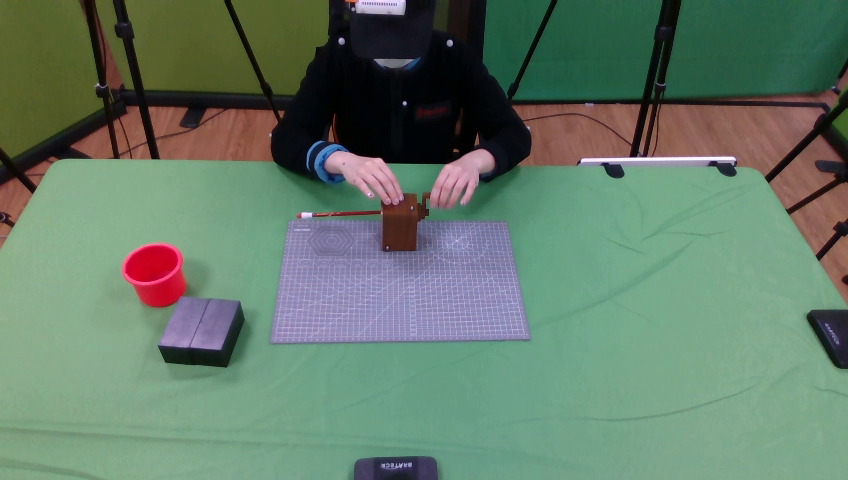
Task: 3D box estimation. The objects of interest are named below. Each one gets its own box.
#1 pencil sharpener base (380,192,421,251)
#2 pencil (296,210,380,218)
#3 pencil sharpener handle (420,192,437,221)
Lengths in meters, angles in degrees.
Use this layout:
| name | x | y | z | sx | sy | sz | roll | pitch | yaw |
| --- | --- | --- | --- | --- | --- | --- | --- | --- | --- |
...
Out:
| name | x | y | z | sx | sy | sz | roll | pitch | yaw |
| --- | --- | --- | --- | --- | --- | --- | --- | --- | --- |
| pencil sharpener base | -0.046 | -0.035 | 1.163 | 0.077 | 0.107 | 0.061 | 0 | 46 | -5 |
| pencil | -0.144 | -0.051 | 1.143 | 0.194 | 0.012 | 0.012 | -2 | 46 | 1 |
| pencil sharpener handle | 0.008 | -0.064 | 1.135 | 0.031 | 0.068 | 0.036 | 0 | 52 | -5 |
